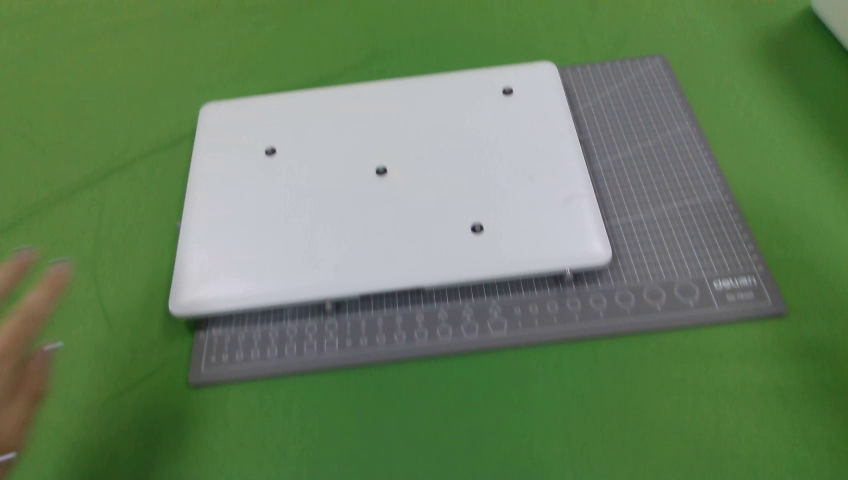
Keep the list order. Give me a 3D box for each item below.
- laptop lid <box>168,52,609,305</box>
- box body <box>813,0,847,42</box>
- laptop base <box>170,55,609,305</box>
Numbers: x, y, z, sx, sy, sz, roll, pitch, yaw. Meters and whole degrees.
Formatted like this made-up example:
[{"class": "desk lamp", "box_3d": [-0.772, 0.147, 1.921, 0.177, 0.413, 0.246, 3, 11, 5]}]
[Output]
[{"class": "laptop lid", "box_3d": [-0.038, -0.066, 0.531, 0.357, 0.013, 0.239, -5, 58, 2]}, {"class": "box body", "box_3d": [0.535, -0.189, 0.487, 0.254, 0.162, 0.360, -11, 55, -2]}, {"class": "laptop base", "box_3d": [-0.037, -0.062, 0.542, 0.354, 0.023, 0.233, -7, 59, 1]}]
